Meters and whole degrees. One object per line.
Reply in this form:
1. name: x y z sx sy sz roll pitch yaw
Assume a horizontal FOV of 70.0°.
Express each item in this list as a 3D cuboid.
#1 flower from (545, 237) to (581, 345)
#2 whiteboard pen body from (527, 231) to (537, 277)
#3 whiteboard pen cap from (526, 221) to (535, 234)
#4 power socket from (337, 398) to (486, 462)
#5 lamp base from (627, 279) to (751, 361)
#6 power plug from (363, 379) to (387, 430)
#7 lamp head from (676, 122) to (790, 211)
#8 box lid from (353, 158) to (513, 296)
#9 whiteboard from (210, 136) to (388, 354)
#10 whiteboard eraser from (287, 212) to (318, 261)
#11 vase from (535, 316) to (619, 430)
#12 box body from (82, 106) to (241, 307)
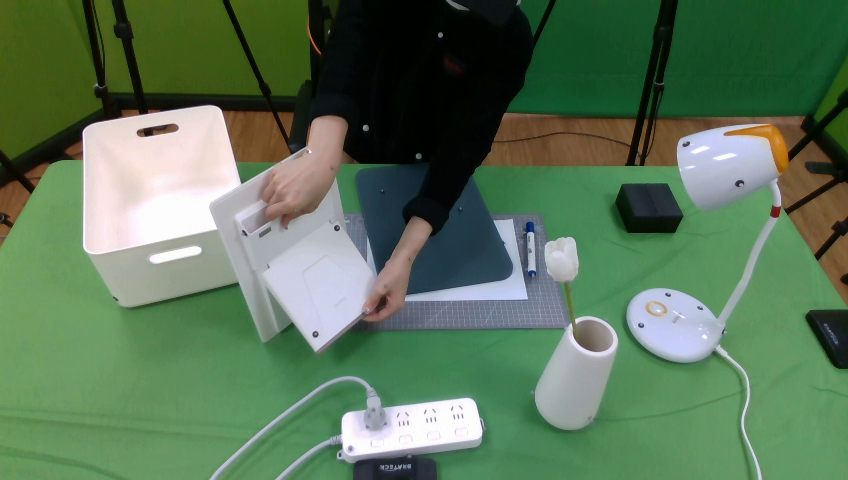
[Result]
1. flower: 0.213 0.137 0.846 0.038 0.364 0.044 21 55 40
2. whiteboard pen body: 0.211 0.018 1.191 0.017 0.017 0.140 6 44 2
3. whiteboard pen cap: 0.216 -0.022 1.233 0.018 0.018 0.033 7 45 2
4. power socket: -0.018 0.285 0.914 0.227 0.033 0.071 -4 46 -8
5. lamp base: 0.460 0.100 1.027 0.178 0.181 0.160 27 51 17
6. power plug: -0.071 0.252 0.911 0.035 0.053 0.072 3 40 0
7. lamp head: 0.423 -0.104 0.819 0.122 0.113 0.112 -13 33 40
8. box lid: 0.009 -0.039 1.242 0.264 0.015 0.369 -8 47 -12
9. whiteboard: -0.167 0.033 0.950 0.143 0.307 0.217 31 53 30
10. whiteboard eraser: -0.234 -0.007 1.173 0.055 0.042 0.112 -4 46 -5
11. vase: 0.229 0.200 0.901 0.098 0.201 0.097 3 46 -3
12. box body: -0.471 -0.071 1.131 0.254 0.161 0.361 -14 49 -17
